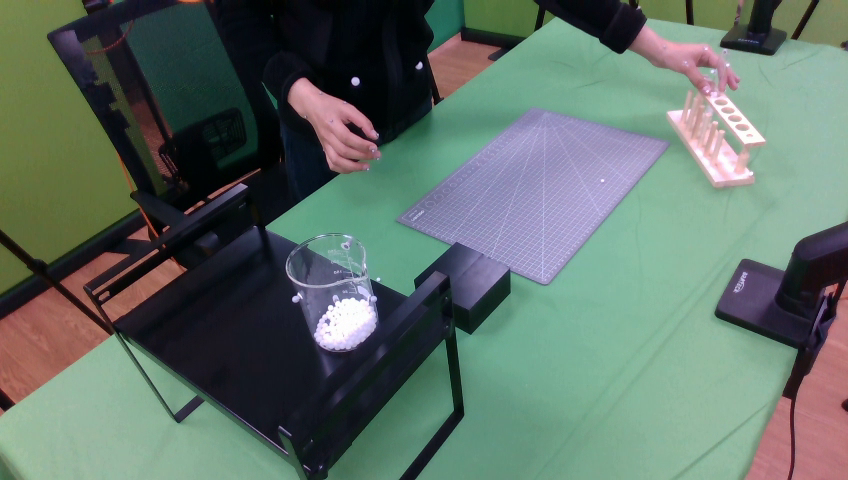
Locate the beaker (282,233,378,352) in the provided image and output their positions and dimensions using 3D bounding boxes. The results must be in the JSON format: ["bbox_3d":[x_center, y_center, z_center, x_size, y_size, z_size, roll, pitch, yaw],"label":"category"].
[{"bbox_3d":[-0.084,0.054,0.587,0.083,0.101,0.074,17,47,25],"label":"beaker"}]

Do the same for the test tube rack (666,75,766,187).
[{"bbox_3d":[0.512,-0.202,1.082,0.067,0.085,0.241,-5,41,1],"label":"test tube rack"}]

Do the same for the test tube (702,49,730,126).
[{"bbox_3d":[0.521,-0.268,1.082,0.017,0.151,0.017,-4,44,4],"label":"test tube"}]
